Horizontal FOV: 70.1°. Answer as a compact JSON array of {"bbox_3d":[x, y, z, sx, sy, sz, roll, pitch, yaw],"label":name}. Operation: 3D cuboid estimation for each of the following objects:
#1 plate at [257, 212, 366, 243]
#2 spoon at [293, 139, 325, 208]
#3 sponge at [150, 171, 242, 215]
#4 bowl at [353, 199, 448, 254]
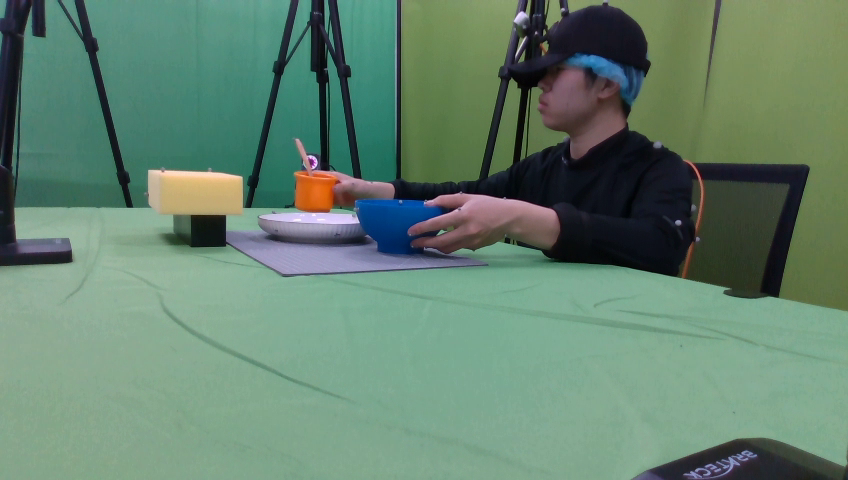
[{"bbox_3d":[-0.189,-0.023,1.072,0.209,0.038,0.209,3,7,0],"label":"plate"},{"bbox_3d":[-0.250,-0.144,1.298,0.042,0.193,0.021,3,-33,-40],"label":"spoon"},{"bbox_3d":[-0.379,-0.079,0.994,0.119,0.061,0.206,-1,7,-29],"label":"sponge"},{"bbox_3d":[-0.038,-0.021,0.952,0.151,0.077,0.151,3,8,0],"label":"bowl"}]
